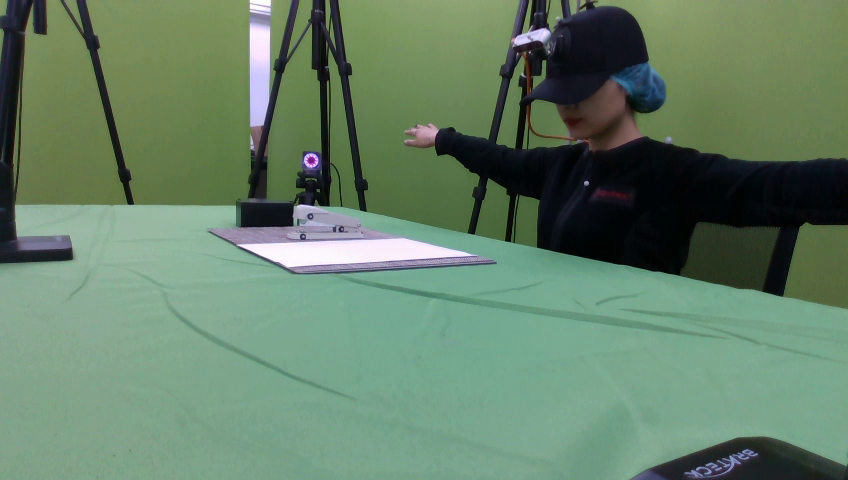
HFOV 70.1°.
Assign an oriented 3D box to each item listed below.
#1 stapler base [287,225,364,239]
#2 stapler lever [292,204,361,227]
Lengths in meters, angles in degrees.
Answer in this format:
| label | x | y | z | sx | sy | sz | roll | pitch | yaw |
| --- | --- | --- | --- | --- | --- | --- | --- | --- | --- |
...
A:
| label | x | y | z | sx | sy | sz | roll | pitch | yaw |
| --- | --- | --- | --- | --- | --- | --- | --- | --- | --- |
| stapler base | -0.169 | -0.016 | 1.039 | 0.131 | 0.024 | 0.041 | 0 | 11 | -29 |
| stapler lever | -0.166 | -0.041 | 1.037 | 0.119 | 0.040 | 0.026 | -1 | 11 | -28 |
